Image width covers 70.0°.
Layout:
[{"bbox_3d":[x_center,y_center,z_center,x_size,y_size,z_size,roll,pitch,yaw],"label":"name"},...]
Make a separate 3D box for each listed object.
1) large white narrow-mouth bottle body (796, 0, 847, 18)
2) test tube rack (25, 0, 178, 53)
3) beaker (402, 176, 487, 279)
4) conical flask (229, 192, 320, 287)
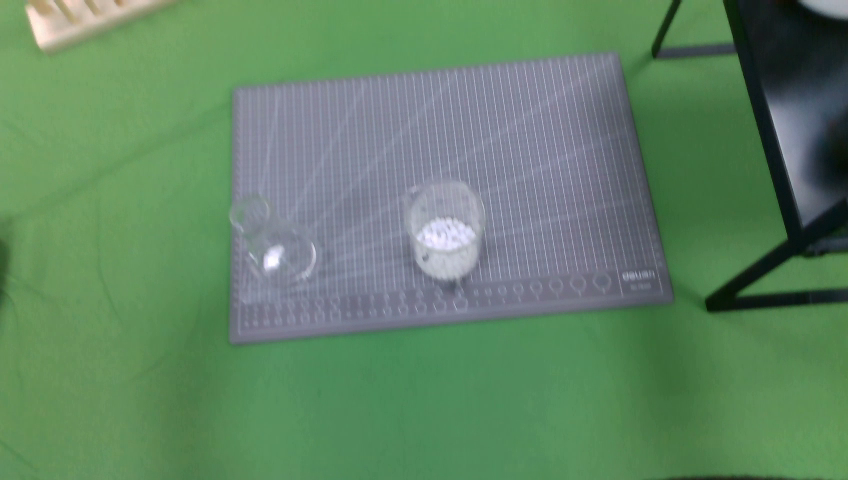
[{"bbox_3d":[0.345,-0.259,0.429,0.102,0.196,0.101,-1,69,4],"label":"large white narrow-mouth bottle body"},{"bbox_3d":[-0.369,-0.320,0.722,0.242,0.086,0.066,-25,71,-7],"label":"test tube rack"},{"bbox_3d":[0.017,-0.009,0.590,0.083,0.101,0.074,31,74,13],"label":"beaker"},{"bbox_3d":[-0.149,-0.005,0.582,0.075,0.122,0.075,-1,70,2],"label":"conical flask"}]
